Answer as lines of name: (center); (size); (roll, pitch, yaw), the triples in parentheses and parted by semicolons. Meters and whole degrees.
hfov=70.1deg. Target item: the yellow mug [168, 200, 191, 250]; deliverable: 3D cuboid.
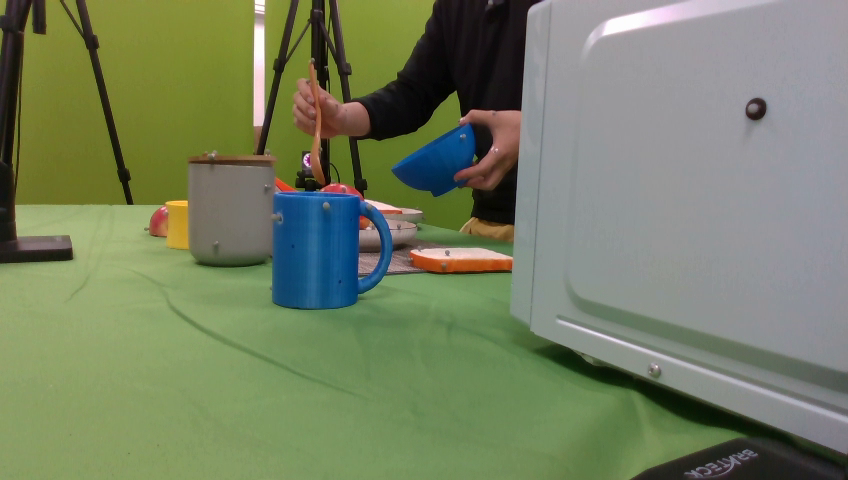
yellow mug: (-0.320, -0.023, 0.904); (0.130, 0.064, 0.100); (8, 10, 36)

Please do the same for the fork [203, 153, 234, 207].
fork: (-0.480, -0.134, 1.411); (0.028, 0.018, 0.207); (1, -35, 0)

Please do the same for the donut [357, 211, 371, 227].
donut: (-0.132, -0.041, 0.959); (0.099, 0.048, 0.099); (3, 8, 0)

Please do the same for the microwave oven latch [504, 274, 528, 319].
microwave oven latch: (0.100, 0.041, 0.471); (0.079, 0.029, 0.030); (-1, 7, -27)

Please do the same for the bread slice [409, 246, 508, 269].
bread slice: (0.048, 0.022, 0.816); (0.132, 0.019, 0.104); (0, 6, -24)

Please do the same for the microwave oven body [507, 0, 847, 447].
microwave oven body: (0.331, -0.042, 0.425); (0.444, 0.260, 0.324); (-2, 8, -31)

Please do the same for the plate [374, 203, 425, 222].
plate: (-0.102, -0.053, 1.299); (0.209, 0.038, 0.209); (2, 8, 0)

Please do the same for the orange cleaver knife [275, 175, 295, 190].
orange cleaver knife: (-0.283, -0.087, 1.343); (0.212, 0.077, 0.012); (24, -16, -41)

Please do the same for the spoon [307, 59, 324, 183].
spoon: (-0.167, -0.183, 0.929); (0.022, 0.193, 0.041); (-1, -6, -18)

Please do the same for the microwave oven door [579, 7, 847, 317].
microwave oven door: (0.294, -0.067, 0.570); (0.358, 0.243, 0.039); (-3, 9, -31)

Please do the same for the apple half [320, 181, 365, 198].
apple half: (-0.130, -0.077, 0.952); (0.081, 0.033, 0.081); (4, 14, -1)

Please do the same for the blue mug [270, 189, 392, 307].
blue mug: (-0.090, 0.005, 0.588); (0.117, 0.106, 0.082); (1, 7, -11)

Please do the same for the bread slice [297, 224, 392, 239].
bread slice: (-0.120, -0.014, 0.968); (0.106, 0.018, 0.135); (6, 6, 40)

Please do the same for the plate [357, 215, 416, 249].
plate: (-0.116, -0.014, 0.967); (0.208, 0.039, 0.207); (2, 7, 0)

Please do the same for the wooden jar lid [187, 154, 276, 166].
wooden jar lid: (-0.244, -0.097, 0.771); (0.108, 0.020, 0.108); (-1, 7, 0)

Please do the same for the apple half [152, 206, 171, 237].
apple half: (-0.415, -0.034, 1.017); (0.081, 0.053, 0.074); (1, 10, -9)

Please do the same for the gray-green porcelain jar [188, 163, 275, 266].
gray-green porcelain jar: (-0.246, -0.034, 0.780); (0.106, 0.126, 0.106); (1, 7, 0)

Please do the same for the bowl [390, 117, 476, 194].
bowl: (0.029, -0.126, 0.980); (0.151, 0.077, 0.151); (-31, 11, 7)
